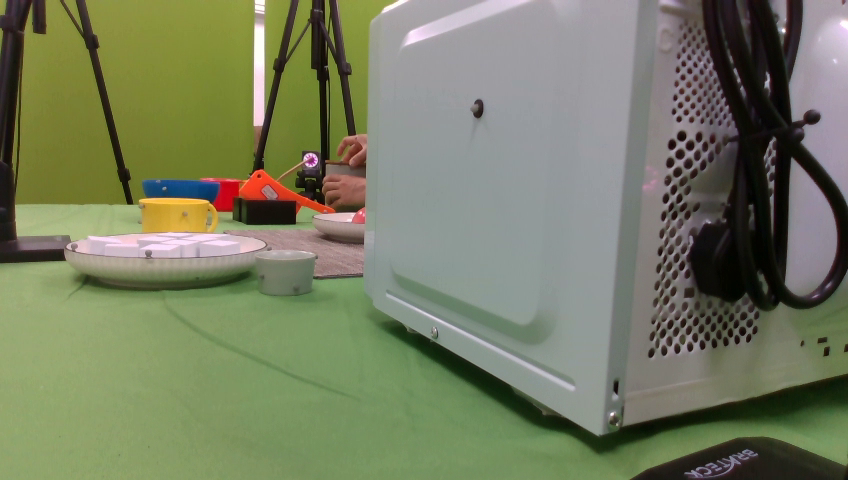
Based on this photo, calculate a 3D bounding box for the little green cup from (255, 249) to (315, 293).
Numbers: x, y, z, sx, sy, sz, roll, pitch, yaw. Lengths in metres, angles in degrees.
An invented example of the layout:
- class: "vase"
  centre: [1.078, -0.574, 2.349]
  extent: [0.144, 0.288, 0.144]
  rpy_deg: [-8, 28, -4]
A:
- class: "little green cup"
  centre: [-0.144, 0.032, 0.627]
  extent: [0.061, 0.038, 0.061]
  rpy_deg: [2, 6, 0]

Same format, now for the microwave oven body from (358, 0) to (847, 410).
- class: "microwave oven body"
  centre: [0.210, -0.051, 0.471]
  extent: [0.444, 0.260, 0.324]
  rpy_deg: [-1, 7, -28]

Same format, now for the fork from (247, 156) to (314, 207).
- class: "fork"
  centre: [-0.360, -0.147, 1.522]
  extent: [0.207, 0.018, 0.028]
  rpy_deg: [-43, 15, -7]

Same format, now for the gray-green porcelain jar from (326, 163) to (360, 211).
- class: "gray-green porcelain jar"
  centre: [-0.188, -0.126, 1.490]
  extent: [0.106, 0.126, 0.106]
  rpy_deg: [2, 7, 0]

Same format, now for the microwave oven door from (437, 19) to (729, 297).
- class: "microwave oven door"
  centre: [0.180, -0.076, 0.618]
  extent: [0.358, 0.243, 0.039]
  rpy_deg: [-2, 9, -28]

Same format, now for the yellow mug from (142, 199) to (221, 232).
- class: "yellow mug"
  centre: [-0.373, -0.030, 0.948]
  extent: [0.099, 0.064, 0.131]
  rpy_deg: [5, 7, 30]

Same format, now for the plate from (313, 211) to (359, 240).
- class: "plate"
  centre: [-0.091, -0.026, 1.063]
  extent: [0.209, 0.038, 0.209]
  rpy_deg: [2, 7, 0]

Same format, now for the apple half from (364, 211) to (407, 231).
- class: "apple half"
  centre: [-0.068, -0.037, 1.104]
  extent: [0.081, 0.033, 0.081]
  rpy_deg: [-1, 9, 0]

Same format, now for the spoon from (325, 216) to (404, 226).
- class: "spoon"
  centre: [-0.120, -0.043, 1.273]
  extent: [0.195, 0.021, 0.041]
  rpy_deg: [-4, -10, -38]

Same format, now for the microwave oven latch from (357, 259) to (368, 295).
- class: "microwave oven latch"
  centre: [-0.019, 0.031, 0.529]
  extent: [0.079, 0.029, 0.030]
  rpy_deg: [-1, 7, -26]

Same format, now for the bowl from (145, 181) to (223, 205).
- class: "bowl"
  centre: [-0.499, -0.081, 1.261]
  extent: [0.151, 0.077, 0.151]
  rpy_deg: [2, 7, 0]

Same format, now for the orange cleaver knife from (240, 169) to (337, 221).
- class: "orange cleaver knife"
  centre: [-0.287, -0.082, 1.299]
  extent: [0.212, 0.077, 0.012]
  rpy_deg: [25, -2, -31]

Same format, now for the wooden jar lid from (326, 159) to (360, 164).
- class: "wooden jar lid"
  centre: [-0.186, -0.187, 1.481]
  extent: [0.108, 0.020, 0.108]
  rpy_deg: [3, 6, 0]

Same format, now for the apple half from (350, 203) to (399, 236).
- class: "apple half"
  centre: [-0.082, -0.036, 1.024]
  extent: [0.081, 0.053, 0.074]
  rpy_deg: [-2, 11, -34]

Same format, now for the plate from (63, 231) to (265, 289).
- class: "plate"
  centre: [-0.288, 0.021, 0.687]
  extent: [0.208, 0.039, 0.207]
  rpy_deg: [2, 8, 0]
